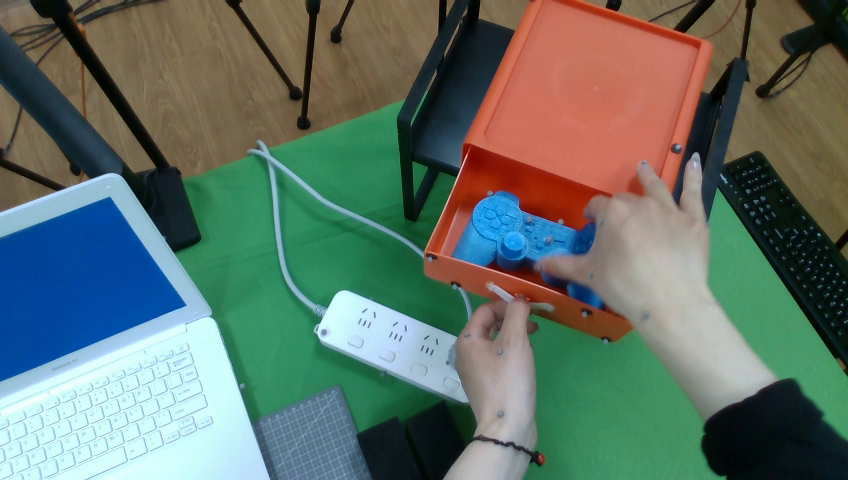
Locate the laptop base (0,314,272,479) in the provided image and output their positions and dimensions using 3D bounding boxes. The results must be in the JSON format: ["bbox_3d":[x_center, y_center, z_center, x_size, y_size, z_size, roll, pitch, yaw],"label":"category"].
[{"bbox_3d":[-0.375,0.255,0.695,0.354,0.023,0.234,-23,73,-10],"label":"laptop base"}]

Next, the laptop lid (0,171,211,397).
[{"bbox_3d":[-0.444,0.075,0.651,0.357,0.244,0.013,-24,46,-9],"label":"laptop lid"}]

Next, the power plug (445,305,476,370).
[{"bbox_3d":[0.053,0.121,0.722,0.035,0.053,0.072,31,69,11],"label":"power plug"}]

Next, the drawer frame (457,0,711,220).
[{"bbox_3d":[0.165,-0.134,0.629,0.201,0.083,0.212,20,69,8],"label":"drawer frame"}]

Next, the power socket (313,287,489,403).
[{"bbox_3d":[-0.027,0.128,0.743,0.226,0.033,0.072,22,70,8],"label":"power socket"}]

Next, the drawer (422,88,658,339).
[{"bbox_3d":[0.124,-0.035,0.591,0.194,0.074,0.210,19,69,7],"label":"drawer"}]

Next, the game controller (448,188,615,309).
[{"bbox_3d":[0.108,0.009,0.584,0.155,0.052,0.096,21,65,7],"label":"game controller"}]
